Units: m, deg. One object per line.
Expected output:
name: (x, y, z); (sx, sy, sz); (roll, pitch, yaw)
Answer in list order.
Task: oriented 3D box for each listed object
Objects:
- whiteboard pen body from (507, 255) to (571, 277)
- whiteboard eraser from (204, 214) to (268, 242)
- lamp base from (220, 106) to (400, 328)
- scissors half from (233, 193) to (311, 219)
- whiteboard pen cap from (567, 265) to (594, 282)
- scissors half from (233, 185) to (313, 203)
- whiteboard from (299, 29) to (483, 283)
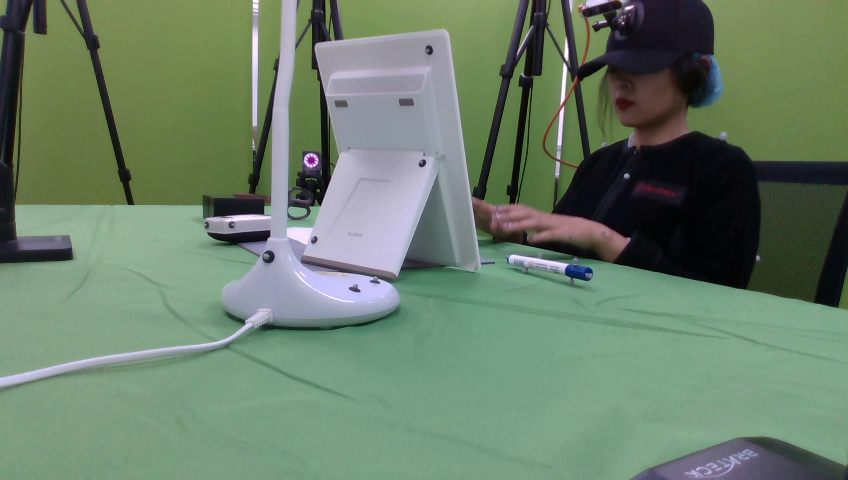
whiteboard pen body: (0.155, 0.034, 0.772); (0.017, 0.017, 0.140); (-2, 6, -31)
whiteboard eraser: (-0.285, -0.019, 0.960); (0.055, 0.042, 0.113); (9, 10, 36)
lamp base: (-0.101, -0.023, 0.531); (0.160, 0.180, 0.179); (4, 10, 10)
scissors half: (-0.330, -0.078, 1.320); (0.176, 0.040, 0.013); (16, 4, -32)
whiteboard pen cap: (0.186, 0.040, 0.722); (0.018, 0.018, 0.033); (-2, 6, -33)
scissors half: (-0.326, -0.098, 1.315); (0.176, 0.040, 0.012); (-5, 20, -29)
whiteboard: (-0.074, -0.082, 0.742); (0.216, 0.305, 0.144); (9, 29, 38)
